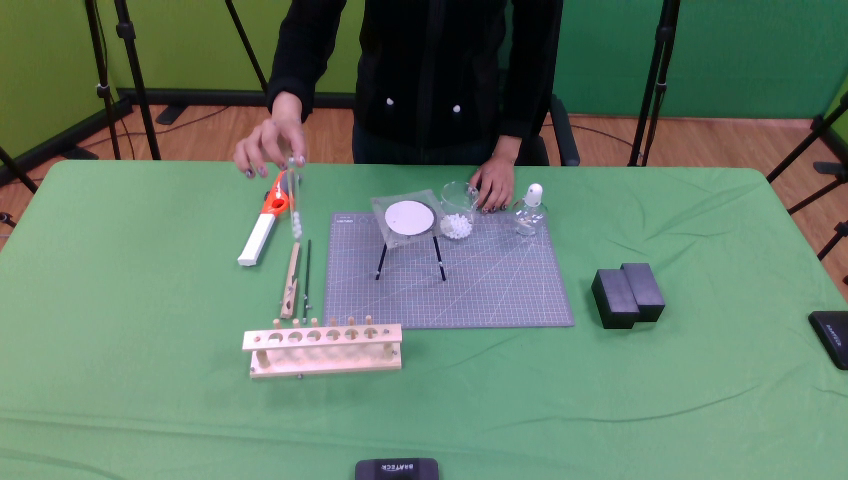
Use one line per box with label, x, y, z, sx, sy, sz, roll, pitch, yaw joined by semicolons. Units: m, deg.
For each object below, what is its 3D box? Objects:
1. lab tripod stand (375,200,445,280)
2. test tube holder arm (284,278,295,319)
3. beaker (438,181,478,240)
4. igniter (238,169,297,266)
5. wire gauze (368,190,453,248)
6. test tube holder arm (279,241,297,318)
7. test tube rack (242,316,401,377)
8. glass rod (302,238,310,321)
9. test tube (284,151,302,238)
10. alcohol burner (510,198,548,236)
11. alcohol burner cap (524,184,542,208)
lab tripod stand;-0.023;0.004;1.113;0.148;0.132;0.147;3;45;-3
test tube holder arm;-0.241;0.103;1.085;0.010;0.015;0.087;26;38;-28
beaker;0.066;-0.053;1.200;0.074;0.101;0.083;-17;50;-19
igniter;-0.313;-0.055;1.224;0.057;0.025;0.275;1;45;10
wire gauze;-0.025;-0.042;1.064;0.121;0.011;0.124;-11;48;-17
test tube holder arm;-0.249;0.069;1.113;0.013;0.015;0.177;26;38;-28
test tube rack;-0.160;0.166;0.983;0.242;0.085;0.066;-2;46;-6
glass rod;-0.218;0.069;1.125;0.008;0.008;0.198;-2;47;-5
test tube;-0.190;-0.063;0.885;0.017;0.151;0.017;3;39;-2
alcohol burner;0.214;-0.066;1.213;0.078;0.119;0.077;3;48;-3
alcohol burner cap;0.216;-0.090;1.186;0.034;0.048;0.033;1;55;-1
